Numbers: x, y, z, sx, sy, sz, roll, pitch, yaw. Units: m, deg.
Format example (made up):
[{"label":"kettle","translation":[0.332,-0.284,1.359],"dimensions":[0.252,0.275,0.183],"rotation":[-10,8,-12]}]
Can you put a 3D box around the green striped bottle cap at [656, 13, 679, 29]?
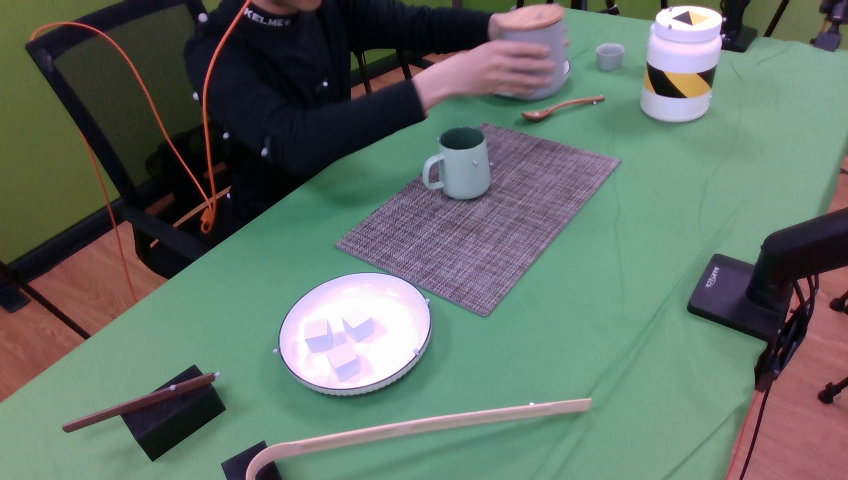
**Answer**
[{"label":"green striped bottle cap","translation":[0.515,-0.463,1.278],"dimensions":[0.044,0.020,0.044],"rotation":[-6,42,6]}]

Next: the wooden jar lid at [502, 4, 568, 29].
[{"label":"wooden jar lid","translation":[0.185,-0.367,1.008],"dimensions":[0.108,0.021,0.108],"rotation":[-9,33,7]}]

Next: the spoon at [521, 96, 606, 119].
[{"label":"spoon","translation":[0.291,-0.277,1.249],"dimensions":[0.194,0.022,0.041],"rotation":[-17,27,-11]}]

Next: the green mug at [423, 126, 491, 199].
[{"label":"green mug","translation":[0.055,-0.126,1.040],"dimensions":[0.126,0.105,0.091],"rotation":[-24,44,-19]}]

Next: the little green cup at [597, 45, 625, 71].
[{"label":"little green cup","translation":[0.423,-0.413,1.375],"dimensions":[0.061,0.039,0.061],"rotation":[-3,41,3]}]

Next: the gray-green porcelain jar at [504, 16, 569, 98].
[{"label":"gray-green porcelain jar","translation":[0.196,-0.318,1.044],"dimensions":[0.106,0.127,0.105],"rotation":[-7,35,6]}]

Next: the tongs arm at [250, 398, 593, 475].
[{"label":"tongs arm","translation":[0.008,0.212,0.675],"dimensions":[0.389,0.028,0.028],"rotation":[-5,46,-11]}]

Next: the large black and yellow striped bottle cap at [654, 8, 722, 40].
[{"label":"large black and yellow striped bottle cap","translation":[0.483,-0.397,1.108],"dimensions":[0.115,0.019,0.114],"rotation":[-3,42,3]}]

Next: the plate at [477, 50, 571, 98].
[{"label":"plate","translation":[0.223,-0.371,1.357],"dimensions":[0.209,0.038,0.208],"rotation":[-4,41,4]}]

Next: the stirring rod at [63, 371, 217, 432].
[{"label":"stirring rod","translation":[-0.337,0.192,0.723],"dimensions":[0.177,0.014,0.005],"rotation":[-18,42,-12]}]

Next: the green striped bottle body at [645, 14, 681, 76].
[{"label":"green striped bottle body","translation":[0.520,-0.424,1.312],"dimensions":[0.063,0.120,0.063],"rotation":[-4,41,4]}]

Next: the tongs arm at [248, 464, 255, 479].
[{"label":"tongs arm","translation":[0.012,0.262,0.615],"dimensions":[0.385,0.026,0.050],"rotation":[3,42,-2]}]

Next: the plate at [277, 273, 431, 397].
[{"label":"plate","translation":[-0.091,0.129,0.821],"dimensions":[0.207,0.039,0.206],"rotation":[-4,40,4]}]

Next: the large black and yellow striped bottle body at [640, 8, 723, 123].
[{"label":"large black and yellow striped bottle body","translation":[0.493,-0.334,1.161],"dimensions":[0.131,0.185,0.130],"rotation":[-4,41,4]}]
